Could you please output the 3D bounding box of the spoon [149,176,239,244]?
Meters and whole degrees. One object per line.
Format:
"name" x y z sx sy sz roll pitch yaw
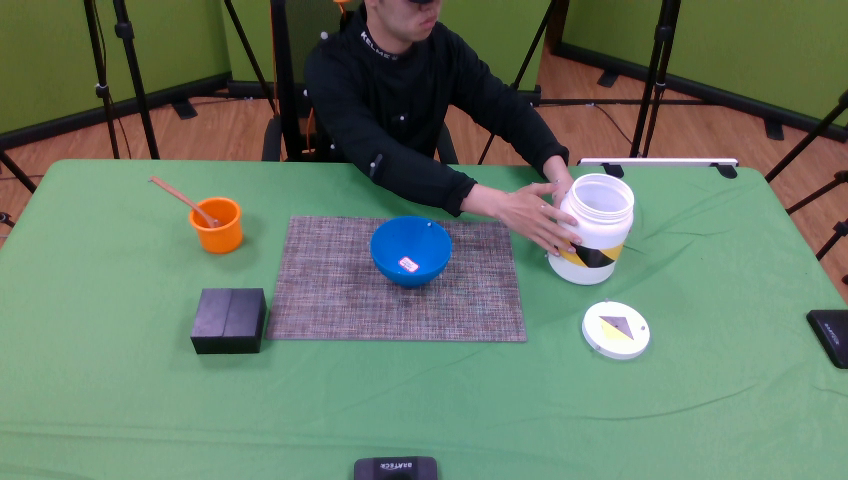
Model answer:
"spoon" -0.427 -0.057 1.132 0.021 0.195 0.041 -27 31 34

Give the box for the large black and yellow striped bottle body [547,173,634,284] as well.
"large black and yellow striped bottle body" 0.310 -0.022 1.130 0.131 0.185 0.130 2 46 -2

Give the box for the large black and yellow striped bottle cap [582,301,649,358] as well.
"large black and yellow striped bottle cap" 0.340 0.157 1.077 0.115 0.019 0.114 1 47 -1

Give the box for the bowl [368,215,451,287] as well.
"bowl" -0.028 0.033 1.119 0.151 0.077 0.150 2 46 -2
